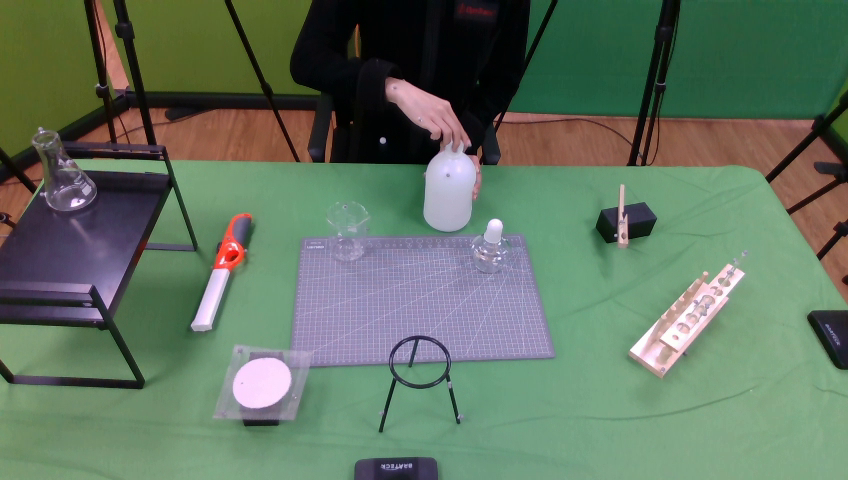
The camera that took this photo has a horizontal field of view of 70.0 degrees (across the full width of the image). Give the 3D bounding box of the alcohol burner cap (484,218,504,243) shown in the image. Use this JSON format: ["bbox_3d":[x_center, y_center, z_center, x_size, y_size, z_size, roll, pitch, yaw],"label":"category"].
[{"bbox_3d":[0.130,-0.021,1.106,0.034,0.048,0.033,3,50,-4],"label":"alcohol burner cap"}]

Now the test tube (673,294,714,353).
[{"bbox_3d":[0.428,0.137,0.978,0.017,0.151,0.017,4,47,-4],"label":"test tube"}]

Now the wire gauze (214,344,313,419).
[{"bbox_3d":[-0.241,0.213,0.916,0.121,0.011,0.124,5,46,1],"label":"wire gauze"}]

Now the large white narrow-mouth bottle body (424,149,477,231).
[{"bbox_3d":[0.054,-0.115,1.191,0.102,0.195,0.101,2,46,-2],"label":"large white narrow-mouth bottle body"}]

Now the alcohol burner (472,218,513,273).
[{"bbox_3d":[0.128,0.005,1.132,0.078,0.120,0.077,0,47,0],"label":"alcohol burner"}]

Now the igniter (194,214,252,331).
[{"bbox_3d":[-0.367,0.050,1.119,0.057,0.025,0.275,-4,46,7],"label":"igniter"}]

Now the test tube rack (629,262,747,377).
[{"bbox_3d":[0.464,0.126,1.060,0.242,0.085,0.066,-34,56,-30],"label":"test tube rack"}]

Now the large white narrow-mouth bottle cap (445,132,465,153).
[{"bbox_3d":[0.058,-0.180,1.121,0.038,0.024,0.037,2,46,-2],"label":"large white narrow-mouth bottle cap"}]

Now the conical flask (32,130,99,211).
[{"bbox_3d":[-0.565,-0.111,0.944,0.075,0.122,0.075,2,46,-2],"label":"conical flask"}]

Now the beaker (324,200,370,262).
[{"bbox_3d":[-0.143,-0.015,1.142,0.084,0.101,0.073,1,46,-4],"label":"beaker"}]

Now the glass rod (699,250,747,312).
[{"bbox_3d":[0.500,0.074,1.021,0.008,0.201,0.008,0,55,1],"label":"glass rod"}]

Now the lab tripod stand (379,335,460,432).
[{"bbox_3d":[-0.011,0.214,0.911,0.148,0.132,0.147,1,45,0],"label":"lab tripod stand"}]

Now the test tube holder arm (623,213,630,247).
[{"bbox_3d":[0.393,-0.020,1.179,0.010,0.015,0.087,13,46,1],"label":"test tube holder arm"}]

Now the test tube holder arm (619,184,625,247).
[{"bbox_3d":[0.396,-0.052,1.210,0.013,0.015,0.177,14,46,2],"label":"test tube holder arm"}]
